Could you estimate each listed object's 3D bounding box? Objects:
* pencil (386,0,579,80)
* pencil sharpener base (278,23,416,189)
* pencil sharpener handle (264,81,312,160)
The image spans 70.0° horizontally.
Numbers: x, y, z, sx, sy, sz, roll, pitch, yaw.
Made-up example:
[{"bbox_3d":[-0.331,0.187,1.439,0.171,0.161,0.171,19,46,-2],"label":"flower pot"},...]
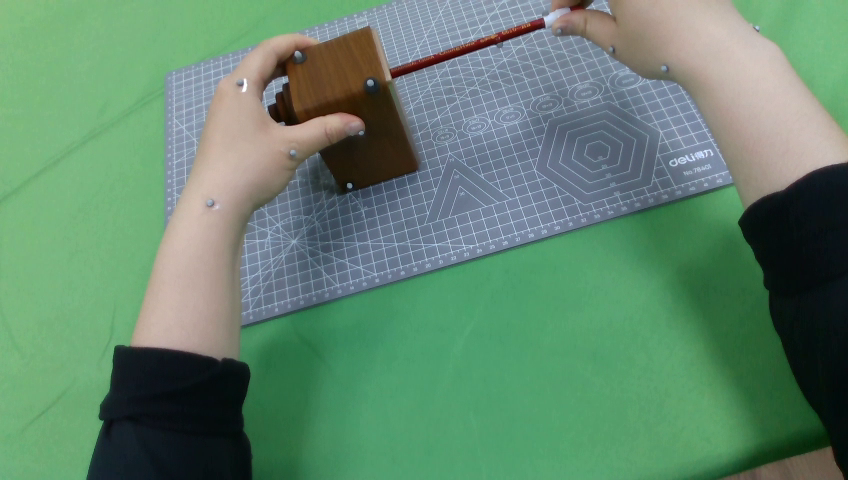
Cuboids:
[{"bbox_3d":[0.019,-0.135,0.435,0.194,0.012,0.012,-19,60,3],"label":"pencil"},{"bbox_3d":[-0.057,-0.097,0.464,0.076,0.108,0.061,-19,60,3],"label":"pencil sharpener base"},{"bbox_3d":[-0.108,-0.086,0.455,0.030,0.068,0.035,-19,58,3],"label":"pencil sharpener handle"}]
